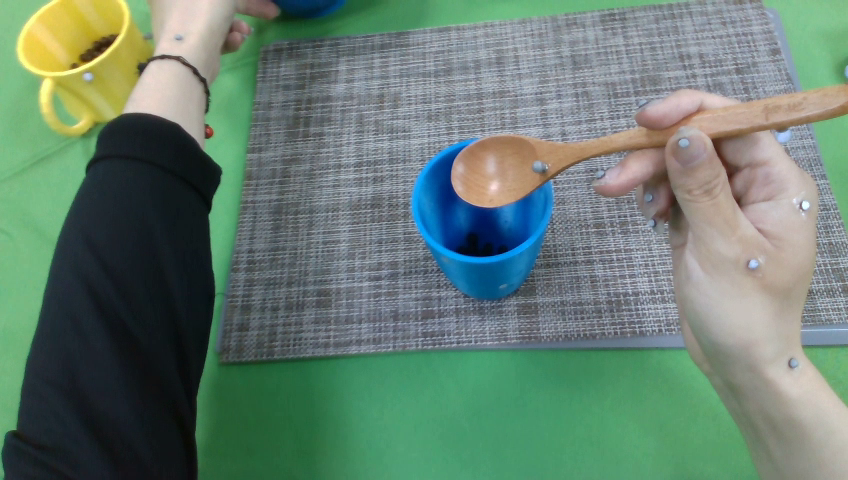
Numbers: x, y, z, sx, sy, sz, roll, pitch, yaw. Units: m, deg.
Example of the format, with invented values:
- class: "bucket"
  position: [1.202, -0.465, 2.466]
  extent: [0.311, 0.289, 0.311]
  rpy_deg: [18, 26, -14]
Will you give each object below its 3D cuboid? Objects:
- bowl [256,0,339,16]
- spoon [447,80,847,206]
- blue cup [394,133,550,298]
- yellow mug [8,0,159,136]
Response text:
- class: "bowl"
  position: [-0.117, -0.265, 0.561]
  extent: [0.151, 0.077, 0.150]
  rpy_deg: [-2, 64, 5]
- class: "spoon"
  position: [0.089, -0.045, 0.284]
  extent: [0.192, 0.022, 0.041]
  rpy_deg: [-6, 80, 44]
- class: "blue cup"
  position: [0.038, -0.006, 0.402]
  extent: [0.092, 0.101, 0.092]
  rpy_deg: [-3, 64, 7]
- class: "yellow mug"
  position: [-0.305, -0.153, 0.536]
  extent: [0.100, 0.064, 0.130]
  rpy_deg: [8, 67, 10]
